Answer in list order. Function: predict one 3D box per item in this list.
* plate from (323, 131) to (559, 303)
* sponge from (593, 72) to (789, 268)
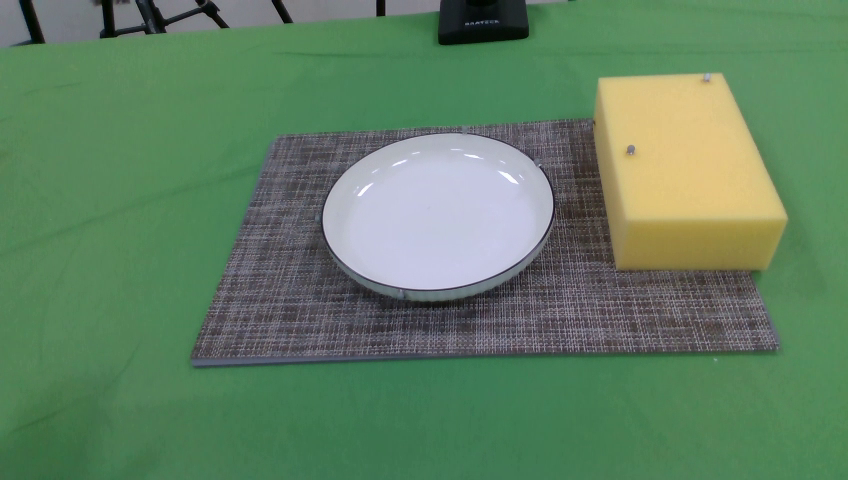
[{"bbox_3d":[0.015,-0.021,0.544,0.207,0.039,0.205,-4,45,5],"label":"plate"},{"bbox_3d":[0.224,-0.069,0.543,0.118,0.061,0.205,-1,46,7],"label":"sponge"}]
